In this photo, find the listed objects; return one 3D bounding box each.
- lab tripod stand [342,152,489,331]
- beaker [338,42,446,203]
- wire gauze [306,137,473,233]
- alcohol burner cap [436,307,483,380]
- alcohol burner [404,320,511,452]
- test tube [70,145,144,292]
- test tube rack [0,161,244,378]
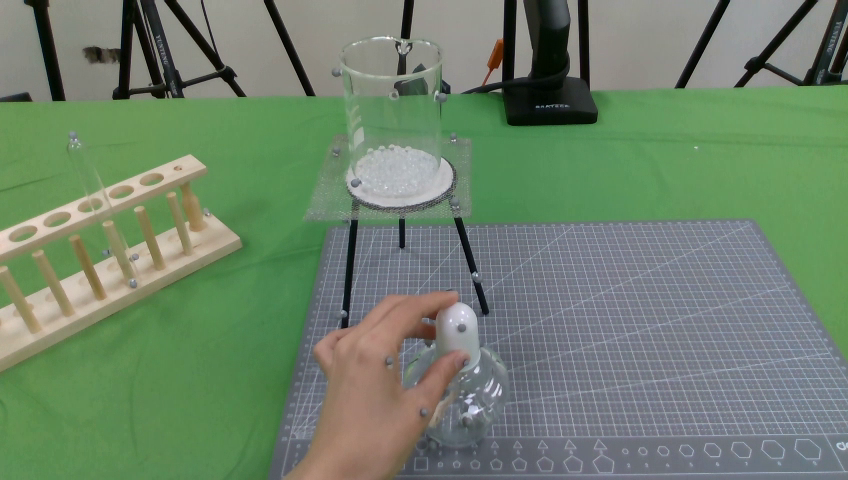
[{"bbox_3d":[-0.011,0.003,0.522,0.148,0.132,0.147,0,38,0],"label":"lab tripod stand"},{"bbox_3d":[-0.021,-0.086,0.450,0.074,0.101,0.083,6,39,8],"label":"beaker"},{"bbox_3d":[-0.022,-0.047,0.479,0.121,0.011,0.124,1,41,3],"label":"wire gauze"},{"bbox_3d":[0.023,0.066,0.400,0.034,0.048,0.033,-2,38,2],"label":"alcohol burner cap"},{"bbox_3d":[0.023,0.094,0.423,0.078,0.120,0.077,-1,41,1],"label":"alcohol burner"},{"bbox_3d":[-0.275,-0.014,0.528,0.017,0.151,0.017,-1,38,1],"label":"test tube"},{"bbox_3d":[-0.298,0.020,0.558,0.242,0.086,0.066,-31,47,-31],"label":"test tube rack"}]
